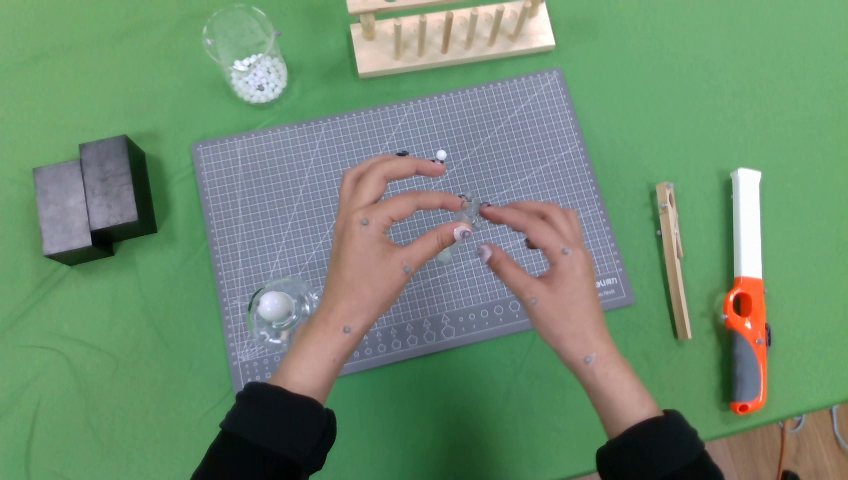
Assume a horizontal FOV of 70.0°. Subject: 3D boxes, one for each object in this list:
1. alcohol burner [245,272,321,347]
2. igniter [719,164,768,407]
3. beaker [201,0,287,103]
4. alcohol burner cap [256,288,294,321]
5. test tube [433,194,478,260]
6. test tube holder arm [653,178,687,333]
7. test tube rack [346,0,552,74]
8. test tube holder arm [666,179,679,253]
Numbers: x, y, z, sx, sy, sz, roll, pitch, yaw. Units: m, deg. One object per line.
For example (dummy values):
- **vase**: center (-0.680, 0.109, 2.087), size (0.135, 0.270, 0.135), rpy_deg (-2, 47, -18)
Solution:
- **alcohol burner**: center (-0.145, 0.067, 0.610), size (0.078, 0.119, 0.077), rpy_deg (1, 75, -3)
- **igniter**: center (0.359, 0.048, 0.682), size (0.057, 0.025, 0.275), rpy_deg (9, 77, -11)
- **beaker**: center (-0.196, -0.204, 0.680), size (0.074, 0.100, 0.083), rpy_deg (-10, 78, -4)
- **alcohol burner cap**: center (-0.143, 0.060, 0.575), size (0.034, 0.048, 0.033), rpy_deg (1, 81, -3)
- **test tube**: center (0.024, -0.007, 0.523), size (0.017, 0.151, 0.017), rpy_deg (2, 73, -7)
- **test tube holder arm**: center (0.280, 0.016, 0.689), size (0.013, 0.015, 0.177), rpy_deg (5, 76, -32)
- **test tube rack**: center (0.034, -0.261, 0.709), size (0.242, 0.085, 0.066), rpy_deg (-9, 78, -4)
- **test tube holder arm**: center (0.283, -0.028, 0.701), size (0.010, 0.015, 0.087), rpy_deg (6, 76, -32)
